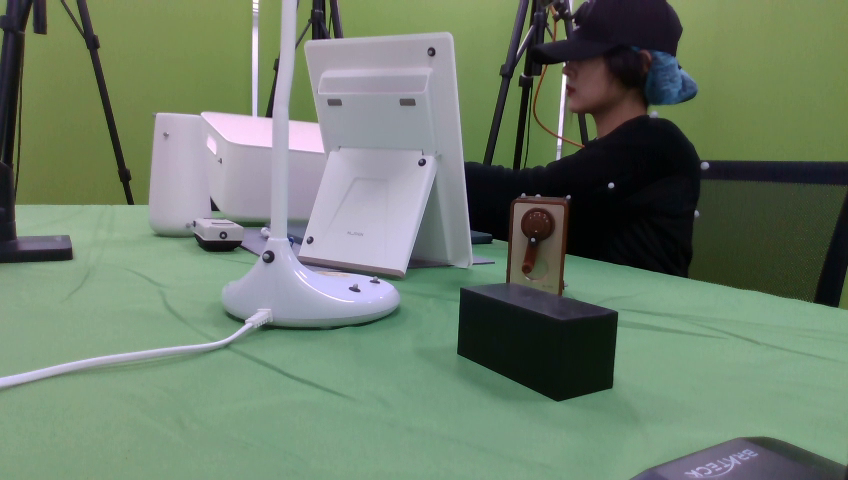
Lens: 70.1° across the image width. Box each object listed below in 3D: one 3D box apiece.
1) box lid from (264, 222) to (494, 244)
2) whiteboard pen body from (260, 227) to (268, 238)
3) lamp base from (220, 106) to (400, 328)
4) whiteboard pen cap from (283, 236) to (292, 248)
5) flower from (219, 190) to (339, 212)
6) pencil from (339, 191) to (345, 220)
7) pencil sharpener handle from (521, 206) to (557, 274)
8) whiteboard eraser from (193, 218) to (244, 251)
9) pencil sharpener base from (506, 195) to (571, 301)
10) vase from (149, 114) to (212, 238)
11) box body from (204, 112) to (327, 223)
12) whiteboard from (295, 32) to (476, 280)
[{"bbox_3d":[-0.081,-0.014,1.117,0.373,0.015,0.262,-2,9,-32],"label":"box lid"},{"bbox_3d":[-0.239,-0.005,0.964,0.017,0.017,0.140,-2,9,-28],"label":"whiteboard pen body"},{"bbox_3d":[-0.102,-0.023,0.531,0.160,0.180,0.179,4,10,10],"label":"lamp base"},{"bbox_3d":[-0.211,0.003,0.913,0.018,0.018,0.033,-2,6,-28],"label":"whiteboard pen cap"},{"bbox_3d":[-0.298,-0.094,1.320,0.044,0.038,0.363,15,15,27],"label":"flower"},{"bbox_3d":[-0.186,-0.081,1.364,0.012,0.012,0.193,1,22,-10],"label":"pencil"},{"bbox_3d":[0.112,0.000,0.611,0.036,0.067,0.031,13,10,11],"label":"pencil sharpener handle"},{"bbox_3d":[-0.307,-0.010,0.900,0.056,0.042,0.112,-4,10,-28],"label":"whiteboard eraser"},{"bbox_3d":[0.126,0.007,0.662,0.061,0.107,0.077,4,8,13],"label":"pencil sharpener base"},{"bbox_3d":[-0.405,-0.106,1.006,0.098,0.200,0.098,2,6,0],"label":"vase"},{"bbox_3d":[-0.269,-0.150,1.291,0.366,0.160,0.253,0,25,-32],"label":"box body"},{"bbox_3d":[-0.076,-0.084,0.747,0.216,0.305,0.144,7,28,29],"label":"whiteboard"}]
